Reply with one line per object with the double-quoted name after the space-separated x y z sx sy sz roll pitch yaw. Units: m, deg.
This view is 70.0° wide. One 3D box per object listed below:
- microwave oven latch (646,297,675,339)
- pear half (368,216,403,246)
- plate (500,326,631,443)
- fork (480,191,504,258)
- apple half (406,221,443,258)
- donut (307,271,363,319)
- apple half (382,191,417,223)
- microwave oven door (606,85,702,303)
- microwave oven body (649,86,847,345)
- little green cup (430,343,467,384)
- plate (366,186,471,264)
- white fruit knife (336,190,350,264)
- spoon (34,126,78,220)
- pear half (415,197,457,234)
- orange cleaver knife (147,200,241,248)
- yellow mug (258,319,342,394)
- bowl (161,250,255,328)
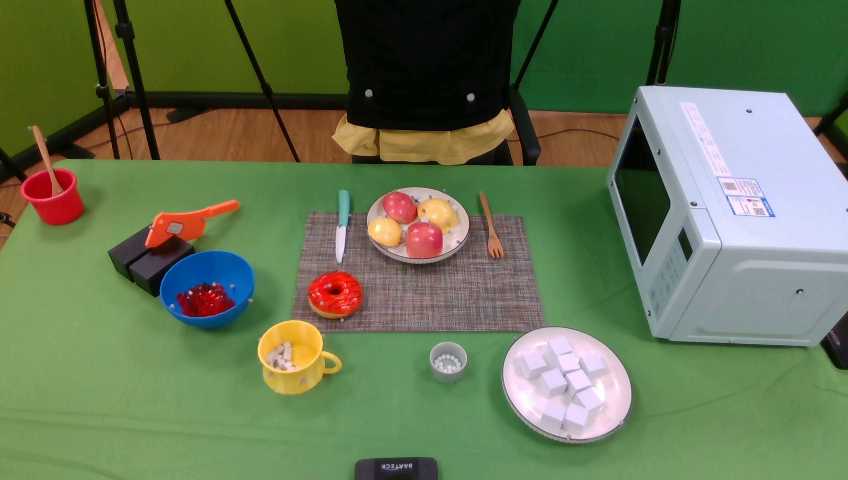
0.412 0.134 1.061 0.030 0.029 0.078 4 45 1 "microwave oven latch"
-0.070 -0.026 1.183 0.070 0.031 0.087 33 46 0 "pear half"
0.224 0.233 0.978 0.208 0.039 0.206 2 46 -2 "plate"
0.136 -0.035 1.241 0.028 0.019 0.206 -8 46 1 "fork"
0.001 -0.006 1.164 0.075 0.053 0.080 5 42 -1 "apple half"
-0.157 0.097 1.072 0.099 0.048 0.098 4 45 -4 "donut"
-0.043 -0.072 1.225 0.081 0.033 0.081 19 41 -17 "apple half"
0.423 -0.094 1.140 0.039 0.245 0.353 2 46 -1 "microwave oven door"
0.567 -0.053 1.118 0.326 0.261 0.439 2 45 -1 "microwave oven body"
0.039 0.203 0.993 0.061 0.039 0.061 2 46 -2 "little green cup"
-0.013 -0.027 1.207 0.209 0.038 0.208 2 46 -2 "plate"
-0.164 -0.030 1.217 0.027 0.016 0.206 -22 45 19 "white fruit knife"
-0.726 -0.132 1.187 0.041 0.021 0.194 -18 94 -20 "spoon"
0.016 -0.065 1.227 0.076 0.056 0.109 -27 52 -33 "pear half"
-0.435 -0.033 1.157 0.012 0.077 0.211 31 27 19 "orange cleaver knife"
-0.196 0.189 0.971 0.131 0.064 0.099 9 46 4 "yellow mug"
-0.362 0.097 1.040 0.151 0.077 0.150 2 45 -2 "bowl"
